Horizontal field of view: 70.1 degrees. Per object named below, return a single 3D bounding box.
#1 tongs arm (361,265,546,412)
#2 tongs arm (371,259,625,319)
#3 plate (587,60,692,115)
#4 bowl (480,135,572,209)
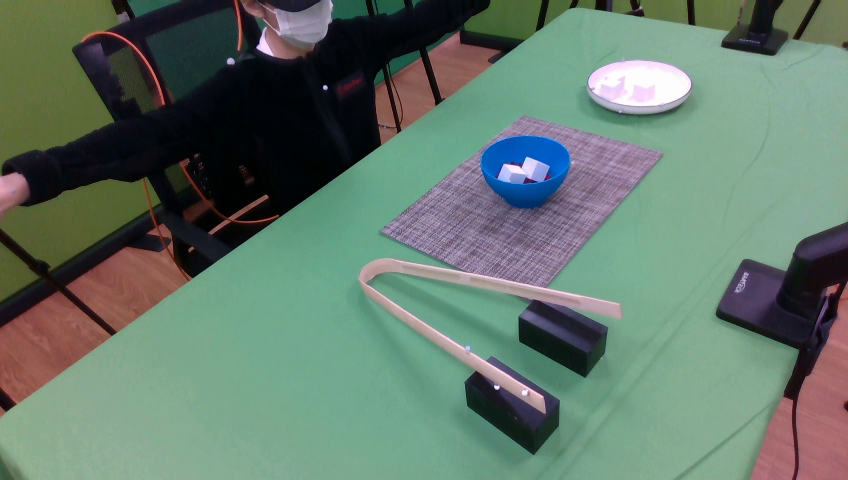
[{"bbox_3d":[0.023,0.111,0.783,0.051,0.027,0.381,-37,36,-25],"label":"tongs arm"},{"bbox_3d":[0.082,0.063,0.829,0.384,0.028,0.028,8,45,35],"label":"tongs arm"},{"bbox_3d":[0.445,-0.313,1.263,0.209,0.038,0.208,-5,40,4],"label":"plate"},{"bbox_3d":[0.172,-0.107,1.024,0.151,0.077,0.150,-4,40,4],"label":"bowl"}]
